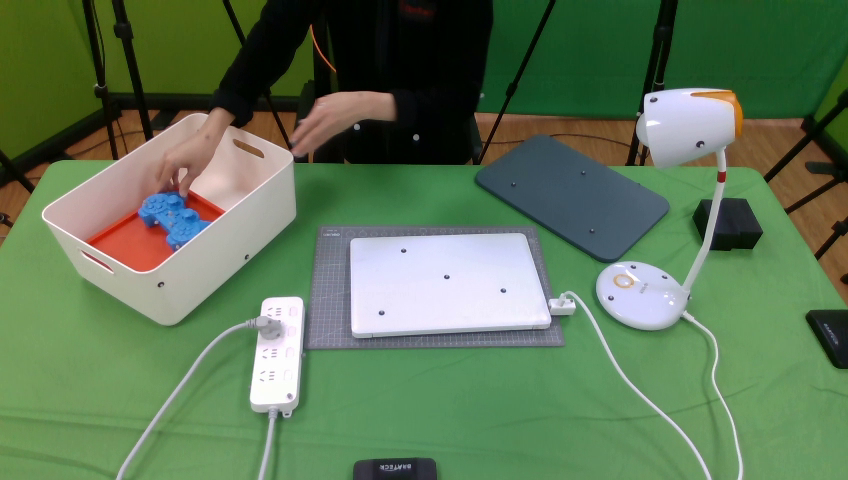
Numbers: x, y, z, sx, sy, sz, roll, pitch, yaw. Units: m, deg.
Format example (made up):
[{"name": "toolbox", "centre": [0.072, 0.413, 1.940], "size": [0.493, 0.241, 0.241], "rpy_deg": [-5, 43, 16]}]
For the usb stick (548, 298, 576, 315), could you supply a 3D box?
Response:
[{"name": "usb stick", "centre": [0.240, 0.120, 1.085], "size": [0.059, 0.027, 0.021], "rpy_deg": [-2, 51, -2]}]

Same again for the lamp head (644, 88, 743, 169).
[{"name": "lamp head", "centre": [0.380, -0.161, 0.851], "size": [0.122, 0.113, 0.112], "rpy_deg": [-4, 42, 25]}]

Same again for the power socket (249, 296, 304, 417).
[{"name": "power socket", "centre": [-0.239, 0.182, 0.996], "size": [0.072, 0.033, 0.225], "rpy_deg": [-2, 47, -5]}]

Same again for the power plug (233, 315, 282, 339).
[{"name": "power plug", "centre": [-0.271, 0.144, 0.999], "size": [0.072, 0.053, 0.035], "rpy_deg": [6, 47, 3]}]

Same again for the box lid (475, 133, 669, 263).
[{"name": "box lid", "centre": [0.324, -0.105, 1.334], "size": [0.369, 0.015, 0.263], "rpy_deg": [36, 54, 27]}]

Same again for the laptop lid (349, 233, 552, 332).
[{"name": "laptop lid", "centre": [0.040, 0.071, 1.118], "size": [0.357, 0.013, 0.240], "rpy_deg": [-1, 44, -5]}]

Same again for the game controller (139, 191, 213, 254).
[{"name": "game controller", "centre": [-0.435, -0.039, 1.080], "size": [0.154, 0.052, 0.097], "rpy_deg": [36, 58, 27]}]

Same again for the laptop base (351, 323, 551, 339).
[{"name": "laptop base", "centre": [0.040, 0.080, 1.125], "size": [0.355, 0.023, 0.234], "rpy_deg": [-2, 43, -6]}]

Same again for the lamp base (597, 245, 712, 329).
[{"name": "lamp base", "centre": [0.418, 0.051, 1.071], "size": [0.179, 0.181, 0.160], "rpy_deg": [22, 49, 13]}]

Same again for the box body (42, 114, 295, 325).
[{"name": "box body", "centre": [-0.437, -0.046, 1.110], "size": [0.253, 0.161, 0.363], "rpy_deg": [24, 49, 19]}]
